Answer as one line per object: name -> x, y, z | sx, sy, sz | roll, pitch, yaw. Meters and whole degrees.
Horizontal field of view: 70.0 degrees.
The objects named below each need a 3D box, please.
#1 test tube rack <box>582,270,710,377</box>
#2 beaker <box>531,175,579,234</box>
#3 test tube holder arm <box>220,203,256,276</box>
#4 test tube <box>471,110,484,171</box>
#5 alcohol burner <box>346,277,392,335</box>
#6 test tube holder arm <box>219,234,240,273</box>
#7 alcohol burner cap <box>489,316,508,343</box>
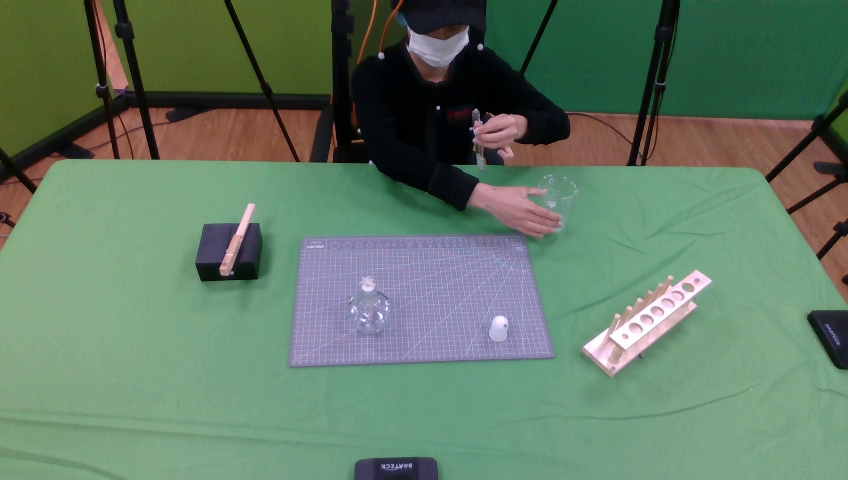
test tube rack -> 0.389, 0.132, 1.057 | 0.242, 0.085, 0.066 | -28, 54, -28
beaker -> 0.257, -0.068, 1.206 | 0.084, 0.101, 0.073 | 3, 45, -1
test tube holder arm -> -0.340, -0.005, 1.112 | 0.015, 0.013, 0.177 | 5, 46, 2
test tube -> 0.107, -0.195, 1.211 | 0.017, 0.151, 0.017 | -5, 49, 6
alcohol burner -> -0.093, 0.106, 1.021 | 0.078, 0.120, 0.077 | 1, 46, -1
test tube holder arm -> -0.344, 0.023, 1.076 | 0.015, 0.010, 0.087 | 5, 45, 2
alcohol burner cap -> 0.130, 0.151, 1.045 | 0.034, 0.048, 0.033 | 2, 46, -2
